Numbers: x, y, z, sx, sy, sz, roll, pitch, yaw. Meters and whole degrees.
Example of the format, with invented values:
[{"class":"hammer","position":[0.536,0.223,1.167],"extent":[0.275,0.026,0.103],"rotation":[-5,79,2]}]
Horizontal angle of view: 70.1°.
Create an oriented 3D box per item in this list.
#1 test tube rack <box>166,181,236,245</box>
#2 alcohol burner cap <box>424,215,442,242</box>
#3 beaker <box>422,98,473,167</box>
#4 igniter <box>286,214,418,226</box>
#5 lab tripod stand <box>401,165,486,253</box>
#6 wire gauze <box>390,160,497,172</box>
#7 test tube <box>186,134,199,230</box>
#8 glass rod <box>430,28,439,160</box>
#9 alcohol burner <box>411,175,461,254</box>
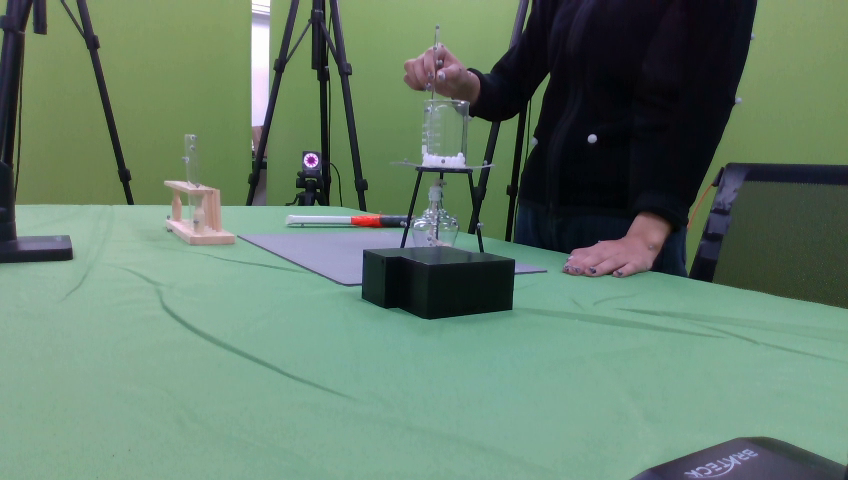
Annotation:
[{"class":"test tube rack","position":[-0.383,-0.051,1.024],"extent":[0.067,0.085,0.241],"rotation":[-2,9,-31]},{"class":"alcohol burner cap","position":[0.017,-0.022,1.098],"extent":[0.034,0.048,0.034],"rotation":[2,9,0]},{"class":"beaker","position":[0.031,-0.162,0.919],"extent":[0.074,0.100,0.083],"rotation":[-4,9,-36]},{"class":"igniter","position":[-0.145,-0.043,1.263],"extent":[0.278,0.025,0.057],"rotation":[-1,-2,-25]},{"class":"lab tripod stand","position":[0.028,-0.049,0.930],"extent":[0.148,0.131,0.148],"rotation":[2,9,0]},{"class":"wire gauze","position":[0.028,-0.114,0.920],"extent":[0.122,0.011,0.124],"rotation":[-5,13,-34]},{"class":"test tube","position":[-0.360,-0.089,0.946],"extent":[0.017,0.150,0.017],"rotation":[0,10,0]},{"class":"glass rod","position":[0.016,-0.222,0.922],"extent":[0.008,0.199,0.008],"rotation":[2,3,0]},{"class":"alcohol burner","position":[0.018,-0.040,0.931],"extent":[0.078,0.119,0.078],"rotation":[0,7,0]}]
